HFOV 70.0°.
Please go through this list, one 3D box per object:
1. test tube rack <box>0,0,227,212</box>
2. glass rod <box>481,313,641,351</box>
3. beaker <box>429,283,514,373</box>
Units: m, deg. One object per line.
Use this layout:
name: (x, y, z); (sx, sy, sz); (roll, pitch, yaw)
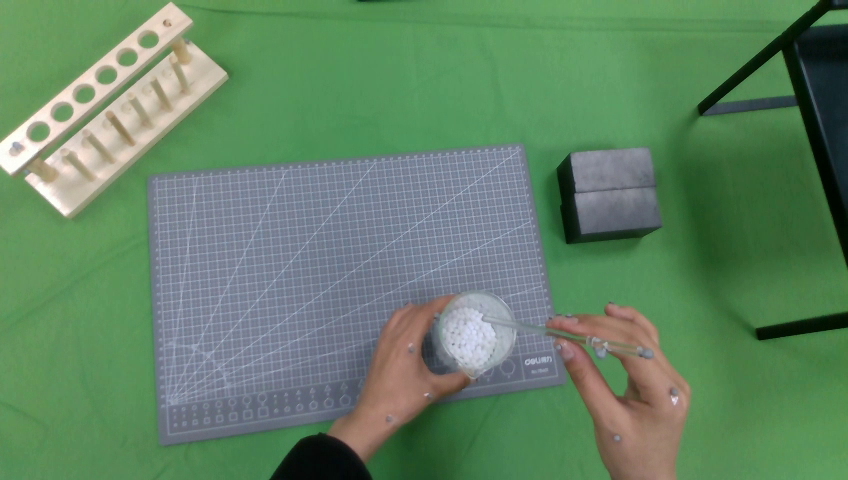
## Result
test tube rack: (-0.337, -0.148, 0.666); (0.066, 0.085, 0.242); (41, 76, 4)
glass rod: (0.087, 0.064, 0.437); (0.008, 0.199, 0.008); (0, 88, -21)
beaker: (0.043, 0.093, 0.608); (0.074, 0.100, 0.083); (7, 75, -3)
